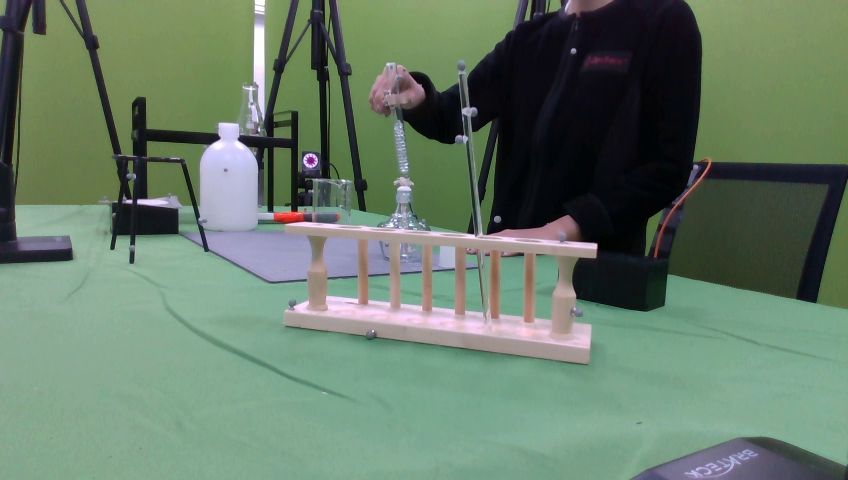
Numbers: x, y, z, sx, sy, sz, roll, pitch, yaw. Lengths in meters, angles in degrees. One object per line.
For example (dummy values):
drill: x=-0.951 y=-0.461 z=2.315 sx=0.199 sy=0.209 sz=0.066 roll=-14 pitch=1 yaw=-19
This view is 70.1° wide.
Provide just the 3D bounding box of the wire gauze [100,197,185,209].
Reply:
wire gauze: x=-0.469 y=-0.062 z=1.008 sx=0.126 sy=0.011 sz=0.121 roll=-2 pitch=8 yaw=-25

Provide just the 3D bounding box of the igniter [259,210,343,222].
igniter: x=-0.303 y=-0.049 z=1.258 sx=0.278 sy=0.025 sz=0.057 roll=-2 pitch=-2 yaw=-28

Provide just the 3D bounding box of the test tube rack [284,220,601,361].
test tube rack: x=0.013 y=0.032 z=0.482 sx=0.242 sy=0.085 sz=0.067 roll=4 pitch=7 yaw=16

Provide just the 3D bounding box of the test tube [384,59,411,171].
test tube: x=-0.035 y=-0.170 z=0.826 sx=0.017 sy=0.150 sz=0.017 roll=-8 pitch=10 yaw=2

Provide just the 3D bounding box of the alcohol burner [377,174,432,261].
alcohol burner: x=-0.027 y=-0.031 z=0.838 sx=0.078 sy=0.119 sz=0.078 roll=0 pitch=6 yaw=0

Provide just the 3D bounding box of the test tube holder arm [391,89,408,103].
test tube holder arm: x=-0.040 y=-0.199 z=0.843 sx=0.010 sy=0.015 sz=0.087 roll=-10 pitch=12 yaw=-17

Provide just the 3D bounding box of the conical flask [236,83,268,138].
conical flask: x=-0.400 y=-0.298 z=1.396 sx=0.075 sy=0.122 sz=0.075 roll=2 pitch=8 yaw=0

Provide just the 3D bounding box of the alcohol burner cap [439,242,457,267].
alcohol burner cap: x=0.037 y=0.011 z=0.807 sx=0.034 sy=0.048 sz=0.034 roll=4 pitch=8 yaw=0

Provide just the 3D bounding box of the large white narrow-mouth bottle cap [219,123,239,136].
large white narrow-mouth bottle cap: x=-0.356 y=-0.201 z=1.104 sx=0.038 sy=0.024 sz=0.037 roll=2 pitch=8 yaw=0

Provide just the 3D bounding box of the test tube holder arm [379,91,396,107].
test tube holder arm: x=-0.055 y=-0.206 z=0.885 sx=0.013 sy=0.015 sz=0.178 roll=-8 pitch=11 yaw=-9

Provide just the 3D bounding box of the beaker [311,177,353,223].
beaker: x=-0.167 y=-0.064 z=1.106 sx=0.074 sy=0.100 sz=0.083 roll=-2 pitch=9 yaw=-27

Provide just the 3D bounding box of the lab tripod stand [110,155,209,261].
lab tripod stand: x=-0.361 y=-0.046 z=0.806 sx=0.148 sy=0.131 sz=0.148 roll=2 pitch=5 yaw=0

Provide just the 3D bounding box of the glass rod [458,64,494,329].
glass rod: x=0.040 y=-0.029 z=0.449 sx=0.008 sy=0.199 sz=0.008 roll=-7 pitch=9 yaw=1

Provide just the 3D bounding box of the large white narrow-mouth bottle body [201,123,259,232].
large white narrow-mouth bottle body: x=-0.358 y=-0.116 z=1.116 sx=0.102 sy=0.194 sz=0.102 roll=2 pitch=8 yaw=0
